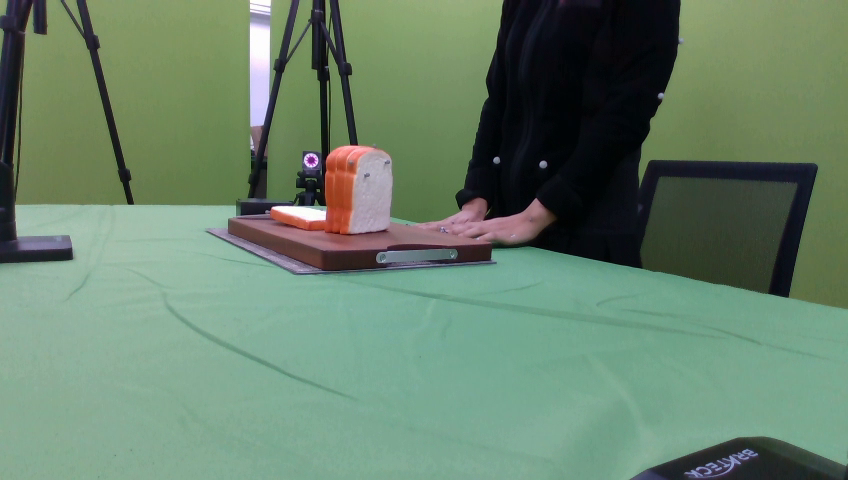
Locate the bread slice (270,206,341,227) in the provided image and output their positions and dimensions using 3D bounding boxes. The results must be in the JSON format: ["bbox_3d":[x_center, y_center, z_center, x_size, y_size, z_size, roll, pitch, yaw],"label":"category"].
[{"bbox_3d":[-0.188,-0.040,1.002,0.133,0.018,0.107,14,10,43],"label":"bread slice"}]

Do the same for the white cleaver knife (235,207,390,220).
[{"bbox_3d":[-0.199,-0.046,1.109,0.288,0.021,0.065,-6,6,-22],"label":"white cleaver knife"}]

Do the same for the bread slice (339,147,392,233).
[{"bbox_3d":[-0.085,-0.075,0.917,0.019,0.131,0.105,13,13,32],"label":"bread slice"}]
